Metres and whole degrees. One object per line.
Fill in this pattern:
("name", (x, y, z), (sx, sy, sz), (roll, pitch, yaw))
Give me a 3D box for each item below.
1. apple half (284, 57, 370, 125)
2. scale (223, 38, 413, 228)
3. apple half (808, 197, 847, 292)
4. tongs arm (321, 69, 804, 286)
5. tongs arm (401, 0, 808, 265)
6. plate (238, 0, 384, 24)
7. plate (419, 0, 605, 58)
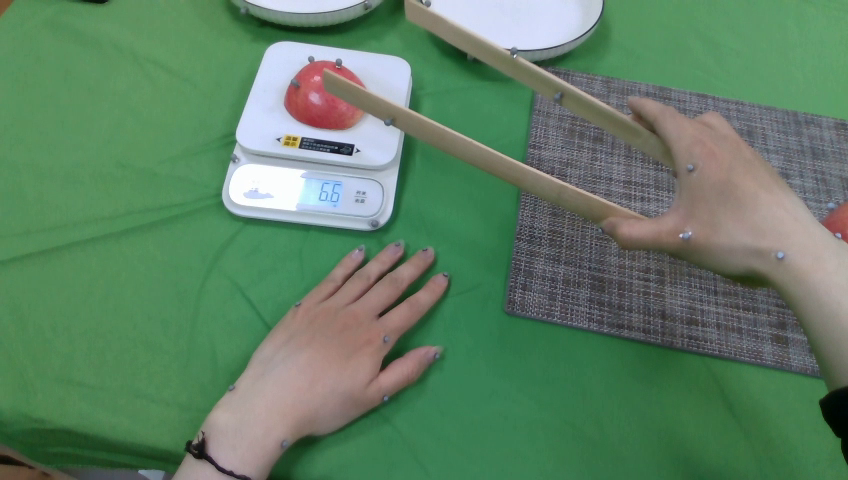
("apple half", (-0.087, -0.143, 0.553), (0.081, 0.033, 0.080), (1, 57, -2))
("scale", (-0.093, -0.106, 0.565), (0.149, 0.032, 0.199), (7, 58, 1))
("apple half", (0.352, 0.009, 0.497), (0.053, 0.075, 0.080), (-23, 65, -12))
("tongs arm", (0.085, -0.053, 0.462), (0.386, 0.028, 0.028), (26, 57, 13))
("tongs arm", (0.121, -0.097, 0.488), (0.382, 0.027, 0.050), (33, 63, 16))
("plate", (-0.126, -0.312, 0.688), (0.208, 0.039, 0.205), (2, 58, -3))
("plate", (0.096, -0.272, 0.679), (0.209, 0.038, 0.207), (2, 58, -3))
